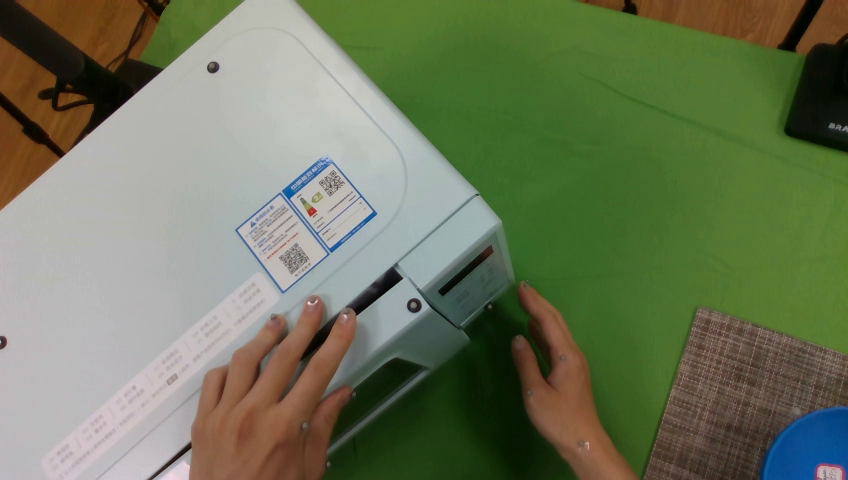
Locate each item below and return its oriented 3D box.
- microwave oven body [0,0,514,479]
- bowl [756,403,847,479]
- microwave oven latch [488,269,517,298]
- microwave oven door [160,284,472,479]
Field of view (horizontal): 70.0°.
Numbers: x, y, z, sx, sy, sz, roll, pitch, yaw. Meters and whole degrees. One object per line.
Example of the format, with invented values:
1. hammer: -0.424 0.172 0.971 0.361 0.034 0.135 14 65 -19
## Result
1. microwave oven body: -0.184 0.040 0.591 0.441 0.262 0.324 -41 73 -1
2. bowl: 0.365 0.221 0.536 0.151 0.077 0.150 -3 75 10
3. microwave oven latch: 0.061 0.050 0.643 0.079 0.030 0.030 -34 73 2
4. microwave oven door: -0.120 0.176 0.539 0.356 0.245 0.039 -39 71 -1
